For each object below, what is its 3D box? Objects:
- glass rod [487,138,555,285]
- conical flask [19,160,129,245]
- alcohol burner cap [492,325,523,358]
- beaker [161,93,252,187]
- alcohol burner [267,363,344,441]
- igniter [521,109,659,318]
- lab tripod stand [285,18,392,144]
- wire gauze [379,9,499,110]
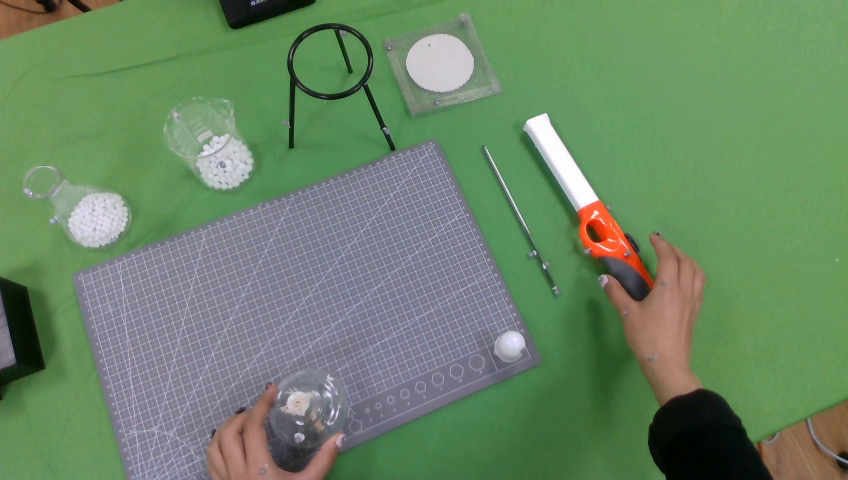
[{"bbox_3d":[0.114,-0.037,0.722,0.008,0.008,0.198,-19,74,-7],"label":"glass rod"},{"bbox_3d":[-0.380,-0.045,0.653,0.075,0.122,0.075,0,73,-1],"label":"conical flask"},{"bbox_3d":[0.092,0.107,0.656,0.034,0.048,0.033,0,72,-1],"label":"alcohol burner cap"},{"bbox_3d":[-0.240,-0.110,0.687,0.073,0.101,0.084,39,76,10],"label":"beaker"},{"bbox_3d":[-0.119,0.158,0.600,0.078,0.120,0.077,1,71,-1],"label":"alcohol burner"},{"bbox_3d":[0.194,-0.036,0.711,0.057,0.025,0.275,-23,75,-18],"label":"igniter"},{"bbox_3d":[-0.103,-0.171,0.690,0.148,0.132,0.147,0,75,-1],"label":"lab tripod stand"},{"bbox_3d":[0.018,-0.231,0.776,0.125,0.011,0.120,-17,75,-8],"label":"wire gauze"}]
